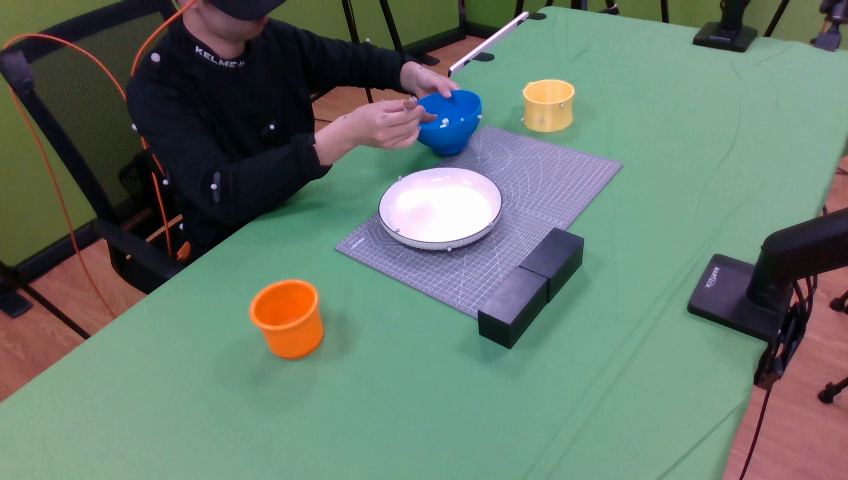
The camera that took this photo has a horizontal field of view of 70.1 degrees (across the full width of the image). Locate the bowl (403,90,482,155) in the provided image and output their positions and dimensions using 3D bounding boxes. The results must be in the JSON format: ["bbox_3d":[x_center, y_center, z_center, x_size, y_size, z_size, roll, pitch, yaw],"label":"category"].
[{"bbox_3d":[0.042,-0.215,1.146,0.151,0.077,0.150,-10,37,8],"label":"bowl"}]

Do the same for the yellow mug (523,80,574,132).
[{"bbox_3d":[0.242,-0.278,1.224,0.100,0.064,0.129,-24,42,-18],"label":"yellow mug"}]

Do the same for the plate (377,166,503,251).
[{"bbox_3d":[0.027,-0.050,1.007,0.209,0.038,0.208,-4,41,4],"label":"plate"}]

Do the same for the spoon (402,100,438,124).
[{"bbox_3d":[-0.011,-0.222,1.037,0.041,0.021,0.194,-15,-3,14],"label":"spoon"}]
